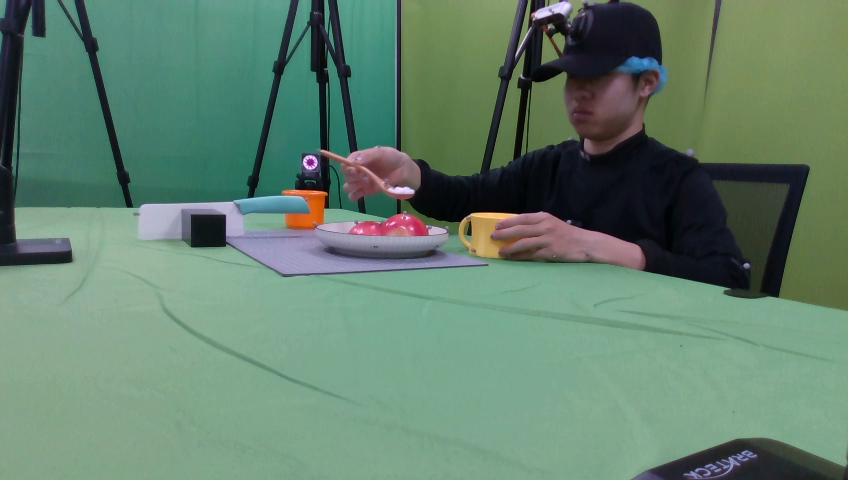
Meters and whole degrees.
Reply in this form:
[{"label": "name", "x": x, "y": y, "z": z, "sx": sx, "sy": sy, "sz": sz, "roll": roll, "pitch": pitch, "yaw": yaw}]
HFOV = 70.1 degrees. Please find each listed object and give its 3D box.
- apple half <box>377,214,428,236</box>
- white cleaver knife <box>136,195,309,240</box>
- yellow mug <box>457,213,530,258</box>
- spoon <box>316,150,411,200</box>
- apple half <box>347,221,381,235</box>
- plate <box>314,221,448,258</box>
[{"label": "apple half", "x": -0.034, "y": -0.013, "z": 0.924, "sx": 0.080, "sy": 0.053, "sz": 0.075, "roll": 5, "pitch": 10, "yaw": 16}, {"label": "white cleaver knife", "x": -0.337, "y": -0.039, "z": 1.037, "sx": 0.288, "sy": 0.066, "sz": 0.021, "roll": -6, "pitch": 15, "yaw": -29}, {"label": "yellow mug", "x": 0.108, "y": -0.011, "z": 0.992, "sx": 0.130, "sy": 0.064, "sz": 0.100, "roll": 6, "pitch": 7, "yaw": 36}, {"label": "spoon", "x": -0.102, "y": -0.109, "z": 0.992, "sx": 0.193, "sy": 0.021, "sz": 0.042, "roll": 32, "pitch": 20, "yaw": 22}, {"label": "apple half", "x": -0.088, "y": -0.014, "z": 0.985, "sx": 0.081, "sy": 0.033, "sz": 0.081, "roll": 4, "pitch": 7, "yaw": 0}, {"label": "plate", "x": -0.066, "y": -0.002, "z": 0.947, "sx": 0.209, "sy": 0.038, "sz": 0.209, "roll": 3, "pitch": 7, "yaw": 0}]
